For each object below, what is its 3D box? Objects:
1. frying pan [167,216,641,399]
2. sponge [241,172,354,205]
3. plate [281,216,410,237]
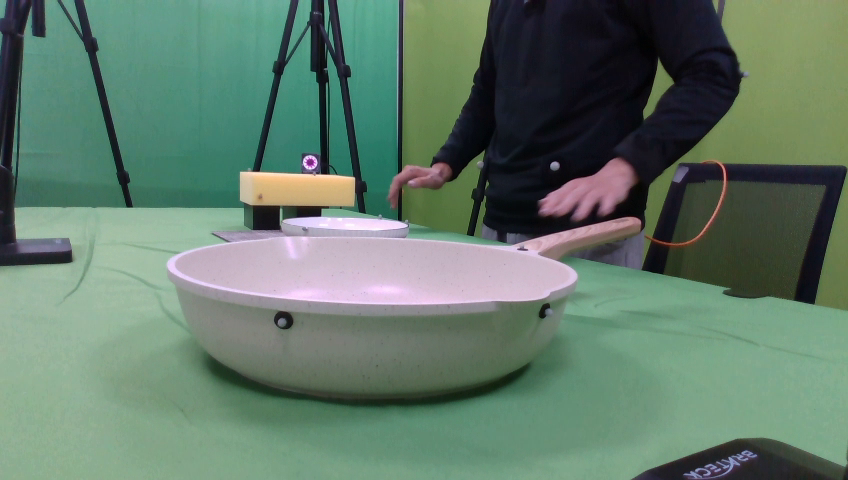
[{"bbox_3d":[0.046,0.024,0.519,0.490,0.102,0.305,-14,16,-37],"label":"frying pan"},{"bbox_3d":[-0.257,-0.105,1.226,0.208,0.061,0.117,-2,8,-28],"label":"sponge"},{"bbox_3d":[-0.126,-0.012,0.986,0.208,0.039,0.207,2,7,0],"label":"plate"}]
